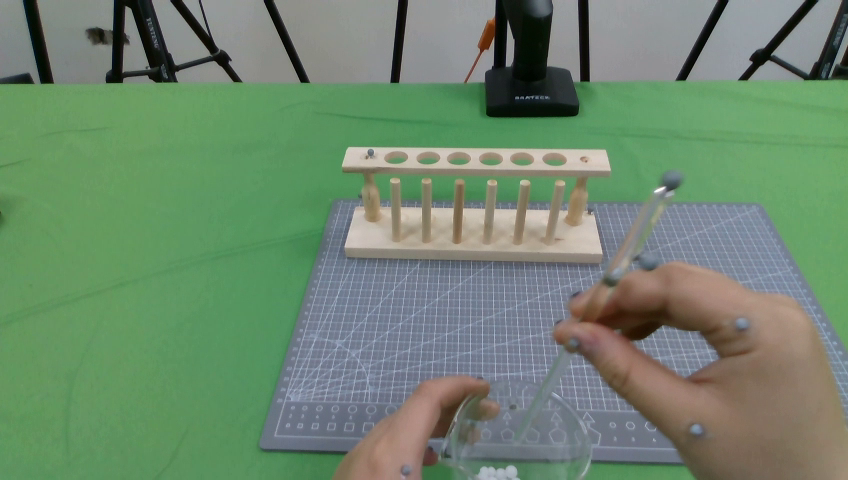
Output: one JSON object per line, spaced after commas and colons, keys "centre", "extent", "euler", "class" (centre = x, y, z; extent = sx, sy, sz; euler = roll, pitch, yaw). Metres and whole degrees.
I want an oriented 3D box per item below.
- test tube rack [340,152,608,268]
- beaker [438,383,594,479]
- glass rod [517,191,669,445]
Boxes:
{"centre": [0.045, -0.029, 0.572], "extent": [0.242, 0.086, 0.066], "euler": [1, 41, 4], "class": "test tube rack"}
{"centre": [0.047, 0.145, 0.352], "extent": [0.084, 0.101, 0.073], "euler": [-8, 39, -12], "class": "beaker"}
{"centre": [0.065, 0.050, 0.266], "extent": [0.008, 0.201, 0.008], "euler": [4, 50, -4], "class": "glass rod"}
